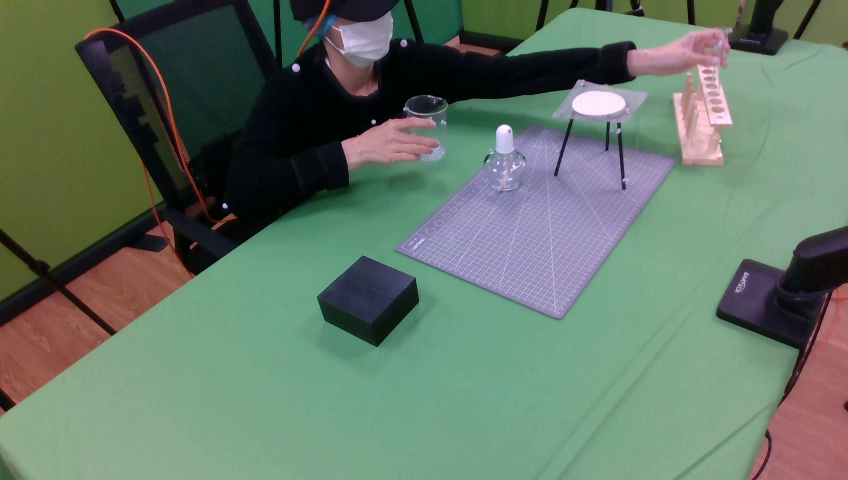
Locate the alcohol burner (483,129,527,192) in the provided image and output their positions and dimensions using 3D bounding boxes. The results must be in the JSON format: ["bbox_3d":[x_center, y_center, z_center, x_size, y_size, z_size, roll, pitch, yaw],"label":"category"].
[{"bbox_3d":[0.141,-0.144,1.050,0.078,0.119,0.077,-4,42,4],"label":"alcohol burner"}]

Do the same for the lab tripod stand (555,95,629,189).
[{"bbox_3d":[0.300,-0.174,1.045,0.148,0.132,0.147,-5,38,5],"label":"lab tripod stand"}]

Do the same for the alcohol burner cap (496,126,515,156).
[{"bbox_3d":[0.138,-0.172,1.028,0.034,0.048,0.033,-5,37,5],"label":"alcohol burner cap"}]

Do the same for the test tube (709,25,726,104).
[{"bbox_3d":[0.509,-0.302,1.051,0.017,0.151,0.017,-10,44,10],"label":"test tube"}]

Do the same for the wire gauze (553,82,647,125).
[{"bbox_3d":[0.293,-0.225,1.002,0.120,0.011,0.125,17,45,27],"label":"wire gauze"}]

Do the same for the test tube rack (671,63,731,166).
[{"bbox_3d":[0.513,-0.241,1.132,0.066,0.085,0.242,4,41,14],"label":"test tube rack"}]

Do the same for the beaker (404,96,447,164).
[{"bbox_3d":[0.006,-0.194,1.070,0.073,0.100,0.084,13,41,17],"label":"beaker"}]
